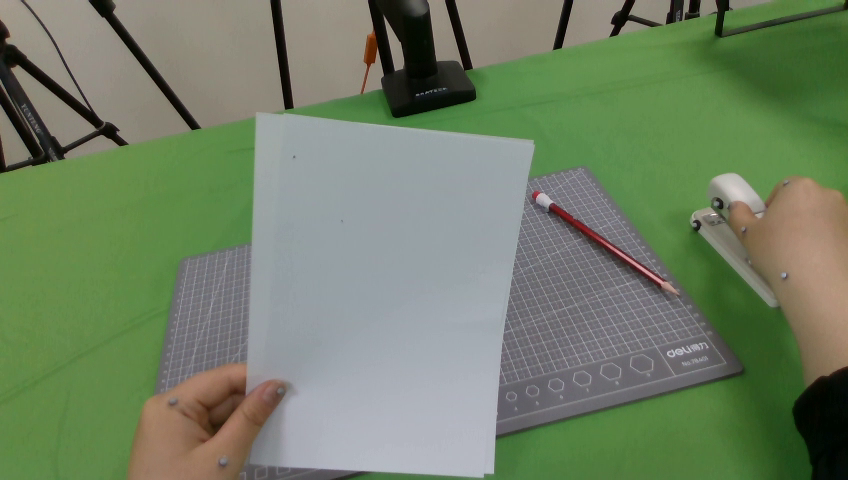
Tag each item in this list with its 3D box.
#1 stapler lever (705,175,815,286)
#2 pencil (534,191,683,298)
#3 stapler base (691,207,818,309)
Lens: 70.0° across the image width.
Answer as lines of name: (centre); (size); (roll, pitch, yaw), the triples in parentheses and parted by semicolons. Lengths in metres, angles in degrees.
stapler lever: (0.281, -0.012, 0.512); (0.027, 0.040, 0.116); (-18, 40, -2)
pencil: (0.165, 0.000, 0.566); (0.012, 0.012, 0.192); (-26, 42, -18)
stapler base: (0.284, 0.005, 0.529); (0.041, 0.025, 0.129); (-18, 41, -2)
